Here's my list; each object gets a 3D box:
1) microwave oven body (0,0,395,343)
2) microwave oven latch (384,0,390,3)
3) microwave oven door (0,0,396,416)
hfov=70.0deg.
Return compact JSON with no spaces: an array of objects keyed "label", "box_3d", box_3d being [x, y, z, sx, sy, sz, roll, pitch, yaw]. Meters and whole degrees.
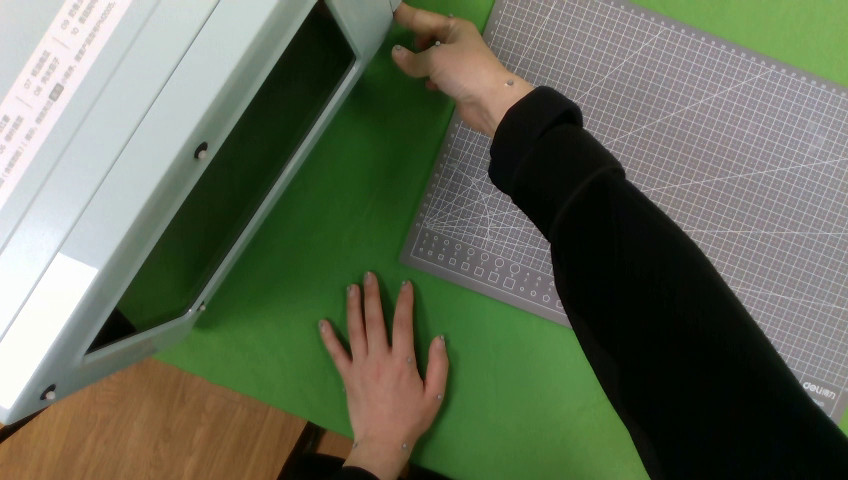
[{"label":"microwave oven body","box_3d":[-0.239,-0.177,0.440,0.326,0.260,0.442,35,95,-2]},{"label":"microwave oven latch","box_3d":[-0.015,-0.247,0.526,0.030,0.029,0.079,44,95,-3]},{"label":"microwave oven door","box_3d":[-0.144,-0.058,0.442,0.039,0.243,0.356,35,94,0]}]
